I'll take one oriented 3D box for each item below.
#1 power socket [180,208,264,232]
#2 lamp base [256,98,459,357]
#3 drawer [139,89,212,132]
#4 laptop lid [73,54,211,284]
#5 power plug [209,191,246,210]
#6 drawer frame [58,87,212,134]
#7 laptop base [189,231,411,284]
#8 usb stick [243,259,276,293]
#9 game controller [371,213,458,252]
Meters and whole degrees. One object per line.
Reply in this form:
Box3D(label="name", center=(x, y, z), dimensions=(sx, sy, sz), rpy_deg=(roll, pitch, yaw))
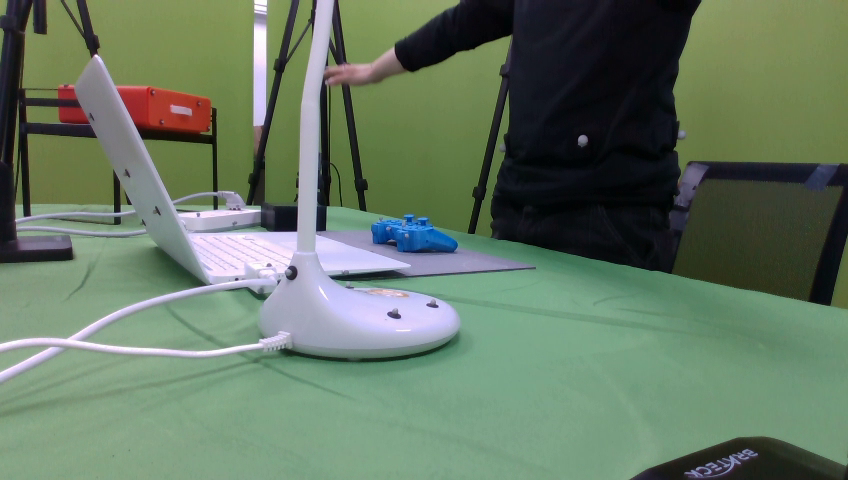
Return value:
Box3D(label="power socket", center=(-0.381, -0.038, 1.128), dimensions=(0.072, 0.032, 0.227), rpy_deg=(4, 8, 16))
Box3D(label="lamp base", center=(-0.055, -0.013, 0.463), dimensions=(0.160, 0.180, 0.180), rpy_deg=(6, 11, 27))
Box3D(label="drawer", center=(-0.588, -0.267, 1.260), dimensions=(0.211, 0.073, 0.195), rpy_deg=(3, 8, 15))
Box3D(label="laptop lid", center=(-0.341, -0.079, 0.704), dimensions=(0.013, 0.242, 0.355), rpy_deg=(-30, 23, -26))
Box3D(label="power plug", center=(-0.388, -0.071, 1.204), dimensions=(0.072, 0.052, 0.035), rpy_deg=(4, 8, 25))
Box3D(label="drawer frame", center=(-0.593, -0.268, 1.260), dimensions=(0.213, 0.082, 0.202), rpy_deg=(4, 8, 14))
Box3D(label="laptop base", center=(-0.204, 0.019, 0.807), dimensions=(0.237, 0.023, 0.352), rpy_deg=(0, 7, -33))
Box3D(label="usb stick", center=(-0.166, 0.035, 0.604), dimensions=(0.021, 0.027, 0.059), rpy_deg=(-9, 8, -28))
Box3D(label="game controller", center=(-0.021, -0.014, 0.978), dimensions=(0.097, 0.051, 0.154), rpy_deg=(-8, 11, -28))
